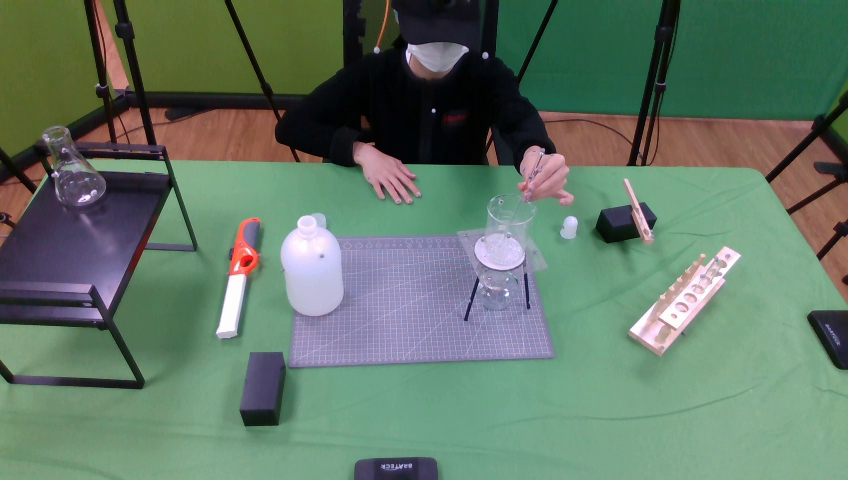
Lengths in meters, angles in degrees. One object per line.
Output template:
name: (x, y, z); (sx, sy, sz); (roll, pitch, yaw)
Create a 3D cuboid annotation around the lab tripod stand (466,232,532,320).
lab tripod stand: (0.125, 0.059, 1.065); (0.148, 0.132, 0.147); (1, 45, 0)

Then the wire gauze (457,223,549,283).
wire gauze: (0.131, 0.016, 1.017); (0.121, 0.011, 0.124); (-10, 44, -15)

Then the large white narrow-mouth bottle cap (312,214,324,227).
large white narrow-mouth bottle cap: (-0.219, -0.033, 1.214); (0.038, 0.024, 0.037); (2, 46, -2)

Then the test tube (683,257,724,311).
test tube: (0.476, 0.080, 1.037); (0.017, 0.151, 0.017); (1, 51, -2)

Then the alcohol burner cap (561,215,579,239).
alcohol burner cap: (0.299, -0.030, 1.231); (0.034, 0.048, 0.033); (0, 46, 0)

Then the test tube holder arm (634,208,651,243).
test tube holder arm: (0.428, -0.030, 1.189); (0.010, 0.015, 0.087); (3, 47, -3)

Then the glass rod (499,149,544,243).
glass rod: (0.148, -0.062, 0.929); (0.008, 0.200, 0.008); (8, 47, -9)

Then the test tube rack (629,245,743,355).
test tube rack: (0.474, 0.095, 1.091); (0.242, 0.085, 0.066); (-34, 56, -31)

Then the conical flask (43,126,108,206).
conical flask: (-0.555, -0.119, 0.953); (0.075, 0.122, 0.075); (2, 46, -2)

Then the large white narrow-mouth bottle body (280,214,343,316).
large white narrow-mouth bottle body: (-0.190, 0.035, 1.025); (0.102, 0.195, 0.101); (2, 46, -2)

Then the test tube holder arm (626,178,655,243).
test tube holder arm: (0.434, -0.063, 1.220); (0.013, 0.015, 0.177); (3, 47, -4)

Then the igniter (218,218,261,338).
igniter: (-0.336, 0.060, 1.111); (0.057, 0.025, 0.274); (-8, 46, 4)

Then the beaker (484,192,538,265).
beaker: (0.137, -0.016, 0.980); (0.084, 0.101, 0.073); (-6, 45, -9)

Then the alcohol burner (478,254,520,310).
alcohol burner: (0.133, 0.068, 1.071); (0.078, 0.120, 0.077); (0, 47, 0)
